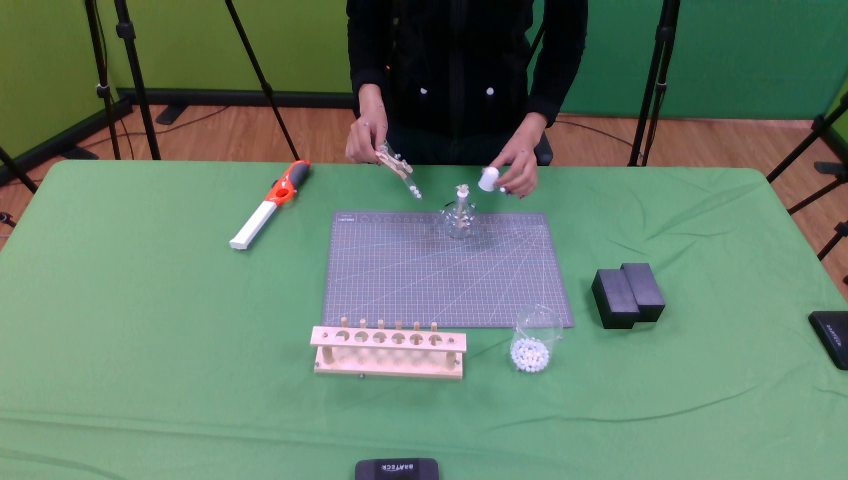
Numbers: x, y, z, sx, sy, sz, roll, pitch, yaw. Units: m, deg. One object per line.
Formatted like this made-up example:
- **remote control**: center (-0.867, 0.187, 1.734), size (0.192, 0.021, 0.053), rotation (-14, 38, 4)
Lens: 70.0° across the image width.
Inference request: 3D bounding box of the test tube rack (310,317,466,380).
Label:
- **test tube rack**: center (-0.056, 0.171, 0.986), size (0.242, 0.085, 0.066), rotation (3, 45, -1)

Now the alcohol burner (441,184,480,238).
- **alcohol burner**: center (0.073, -0.061, 1.195), size (0.078, 0.120, 0.077), rotation (1, 47, -1)

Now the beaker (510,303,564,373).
- **beaker**: center (0.182, 0.164, 1.000), size (0.074, 0.101, 0.083), rotation (2, 46, -1)

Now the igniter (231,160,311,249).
- **igniter**: center (-0.311, -0.081, 1.250), size (0.057, 0.025, 0.275), rotation (9, 45, 18)

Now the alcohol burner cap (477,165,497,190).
- **alcohol burner cap**: center (0.123, -0.124, 1.167), size (0.034, 0.048, 0.033), rotation (9, 48, -10)

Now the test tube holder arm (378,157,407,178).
- **test tube holder arm**: center (-0.057, -0.132, 1.079), size (0.010, 0.015, 0.087), rotation (-41, 41, -5)

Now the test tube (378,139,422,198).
- **test tube**: center (-0.039, -0.123, 1.066), size (0.017, 0.151, 0.017), rotation (-16, 49, 19)

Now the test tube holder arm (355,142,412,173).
- **test tube holder arm**: center (-0.077, -0.153, 1.113), size (0.013, 0.015, 0.177), rotation (-46, 41, -11)
